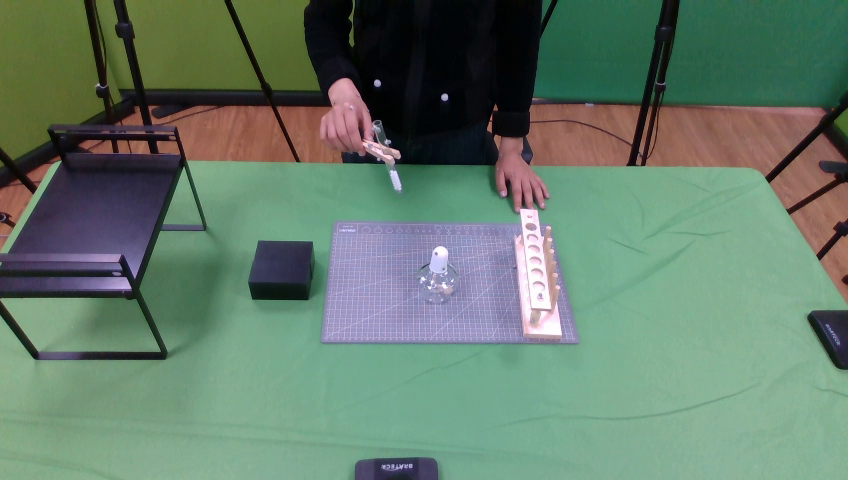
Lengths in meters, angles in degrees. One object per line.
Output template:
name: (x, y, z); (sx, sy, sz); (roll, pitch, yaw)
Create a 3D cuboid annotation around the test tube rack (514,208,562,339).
test tube rack: (0.212, 0.056, 1.113); (0.067, 0.085, 0.241); (3, 46, -1)

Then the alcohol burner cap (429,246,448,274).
alcohol burner cap: (0.027, 0.032, 1.052); (0.034, 0.048, 0.033); (4, 40, -3)

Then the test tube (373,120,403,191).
test tube: (-0.060, -0.140, 1.026); (0.017, 0.151, 0.017); (-8, 47, 9)

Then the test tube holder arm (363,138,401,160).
test tube holder arm: (-0.075, -0.156, 1.036); (0.087, 0.015, 0.010); (24, 57, 33)

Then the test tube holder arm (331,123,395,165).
test tube holder arm: (-0.110, -0.170, 1.060); (0.013, 0.015, 0.177); (-40, 49, -22)

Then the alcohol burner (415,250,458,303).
alcohol burner: (0.024, 0.057, 1.078); (0.078, 0.119, 0.077); (3, 44, -2)
